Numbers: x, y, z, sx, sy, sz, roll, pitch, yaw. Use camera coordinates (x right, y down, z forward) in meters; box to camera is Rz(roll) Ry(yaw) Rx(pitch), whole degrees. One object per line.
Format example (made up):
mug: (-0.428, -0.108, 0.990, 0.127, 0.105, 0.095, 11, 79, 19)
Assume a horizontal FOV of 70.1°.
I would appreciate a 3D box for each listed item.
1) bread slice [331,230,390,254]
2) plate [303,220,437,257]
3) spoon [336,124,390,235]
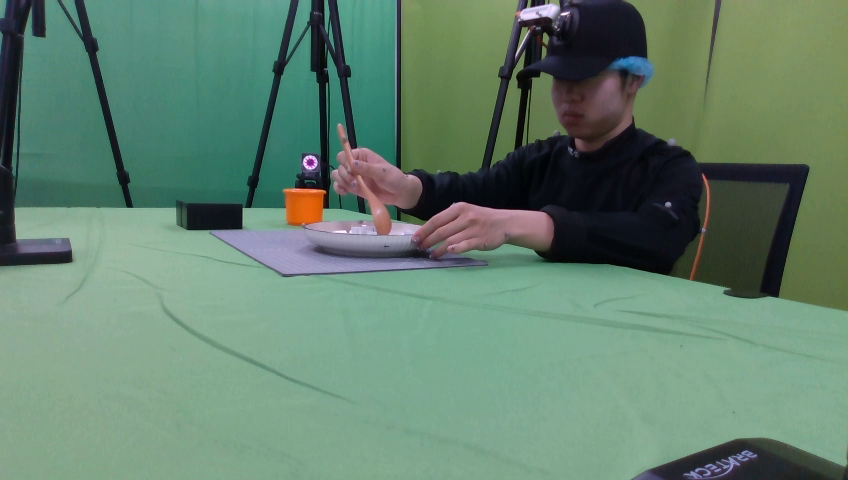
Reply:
bread slice: (-0.088, 0.001, 0.947, 0.131, 0.019, 0.105, 12, 11, 44)
plate: (-0.084, -0.003, 0.951, 0.209, 0.038, 0.209, 3, 7, 0)
spoon: (-0.097, -0.091, 0.912, 0.021, 0.193, 0.042, -36, -16, 32)
